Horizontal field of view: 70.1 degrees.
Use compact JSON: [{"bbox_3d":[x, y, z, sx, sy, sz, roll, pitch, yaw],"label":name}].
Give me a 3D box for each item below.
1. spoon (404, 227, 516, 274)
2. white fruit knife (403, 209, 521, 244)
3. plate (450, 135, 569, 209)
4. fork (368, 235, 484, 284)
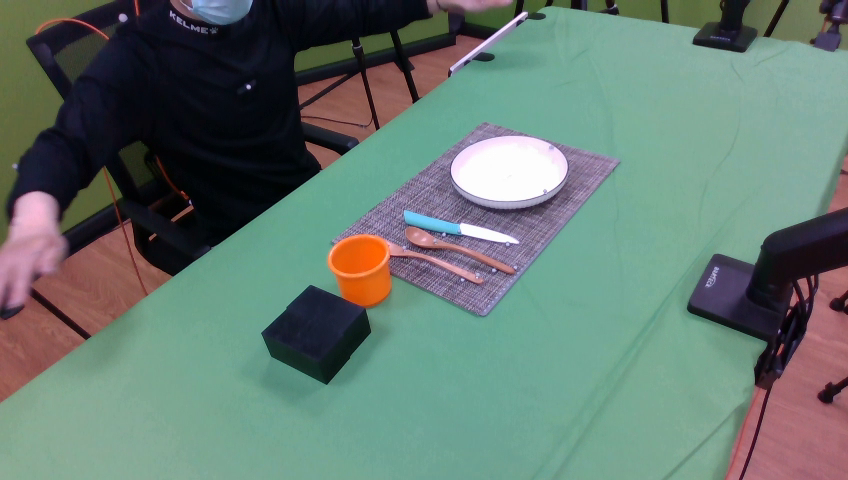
[{"bbox_3d":[0.053,0.016,0.936,0.192,0.022,0.042,18,30,27],"label":"spoon"},{"bbox_3d":[0.057,-0.019,0.981,0.206,0.016,0.027,13,57,20],"label":"white fruit knife"},{"bbox_3d":[0.149,-0.117,1.066,0.209,0.038,0.208,-4,41,4],"label":"plate"},{"bbox_3d":[0.001,0.030,0.930,0.206,0.019,0.028,18,38,29],"label":"fork"}]
